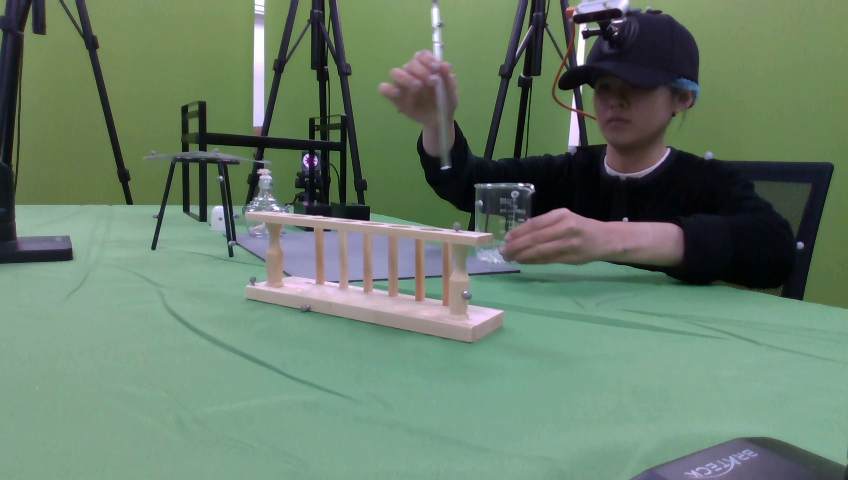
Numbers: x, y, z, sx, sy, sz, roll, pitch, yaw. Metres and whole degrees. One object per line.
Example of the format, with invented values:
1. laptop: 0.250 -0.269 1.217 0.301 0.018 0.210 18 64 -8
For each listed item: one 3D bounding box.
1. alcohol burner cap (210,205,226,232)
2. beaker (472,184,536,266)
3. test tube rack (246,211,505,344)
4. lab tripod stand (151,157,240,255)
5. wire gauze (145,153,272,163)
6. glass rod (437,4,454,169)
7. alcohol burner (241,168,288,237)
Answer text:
1. alcohol burner cap: -0.376 -0.040 1.107 0.034 0.048 0.034 2 7 0
2. beaker: 0.103 -0.020 0.760 0.083 0.100 0.074 6 10 41
3. test tube rack: -0.049 0.025 0.547 0.241 0.085 0.067 7 8 29
4. lab tripod stand: -0.310 -0.052 0.865 0.148 0.131 0.148 2 6 0
5. wire gauze: -0.303 -0.117 0.854 0.121 0.011 0.126 7 8 34
6. glass rod: 0.024 -0.174 0.677 0.008 0.199 0.008 -4 -12 0
7. alcohol burner: -0.272 -0.065 1.036 0.078 0.119 0.078 4 5 0
